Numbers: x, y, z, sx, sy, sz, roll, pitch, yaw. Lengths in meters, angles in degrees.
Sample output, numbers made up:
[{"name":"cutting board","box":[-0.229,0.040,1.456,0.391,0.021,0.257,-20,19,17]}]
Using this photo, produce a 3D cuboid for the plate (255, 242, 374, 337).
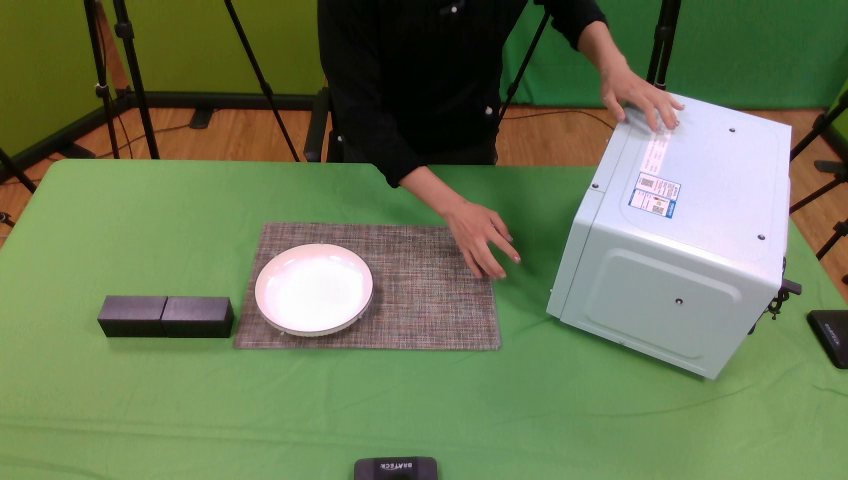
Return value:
[{"name":"plate","box":[-0.192,0.090,1.079,0.208,0.039,0.206,2,46,-2]}]

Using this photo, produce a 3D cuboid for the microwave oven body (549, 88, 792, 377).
[{"name":"microwave oven body","box":[0.456,-0.028,1.088,0.325,0.261,0.440,20,47,16]}]

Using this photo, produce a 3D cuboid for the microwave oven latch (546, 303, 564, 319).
[{"name":"microwave oven latch","box":[0.242,0.102,1.081,0.030,0.029,0.079,22,48,17]}]

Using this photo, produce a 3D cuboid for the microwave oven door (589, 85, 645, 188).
[{"name":"microwave oven door","box":[0.342,-0.107,1.149,0.039,0.245,0.354,21,48,15]}]
